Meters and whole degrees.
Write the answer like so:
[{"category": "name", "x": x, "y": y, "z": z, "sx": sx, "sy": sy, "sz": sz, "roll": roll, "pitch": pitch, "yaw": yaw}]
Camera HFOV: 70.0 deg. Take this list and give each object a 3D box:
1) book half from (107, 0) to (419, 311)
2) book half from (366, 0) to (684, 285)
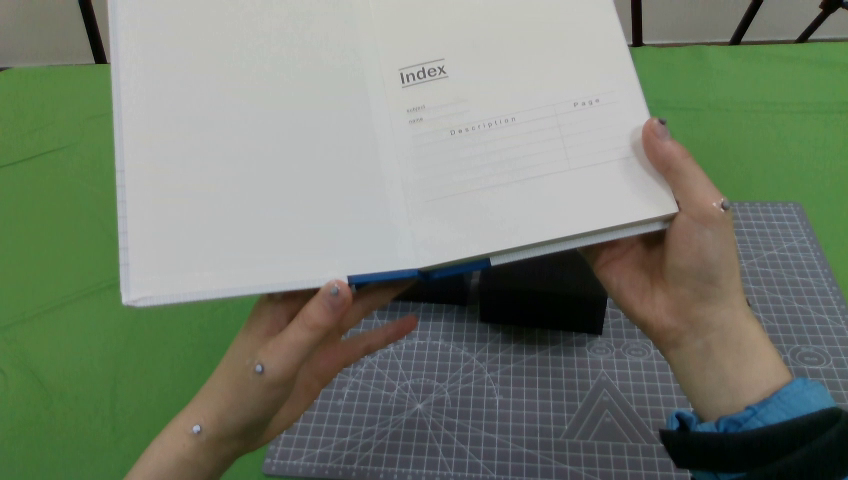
[{"category": "book half", "x": -0.089, "y": -0.071, "z": 0.326, "sx": 0.144, "sy": 0.007, "sz": 0.209, "roll": -5, "pitch": 75, "yaw": -19}, {"category": "book half", "x": 0.049, "y": -0.090, "z": 0.354, "sx": 0.148, "sy": 0.016, "sz": 0.209, "roll": -12, "pitch": 74, "yaw": 4}]
